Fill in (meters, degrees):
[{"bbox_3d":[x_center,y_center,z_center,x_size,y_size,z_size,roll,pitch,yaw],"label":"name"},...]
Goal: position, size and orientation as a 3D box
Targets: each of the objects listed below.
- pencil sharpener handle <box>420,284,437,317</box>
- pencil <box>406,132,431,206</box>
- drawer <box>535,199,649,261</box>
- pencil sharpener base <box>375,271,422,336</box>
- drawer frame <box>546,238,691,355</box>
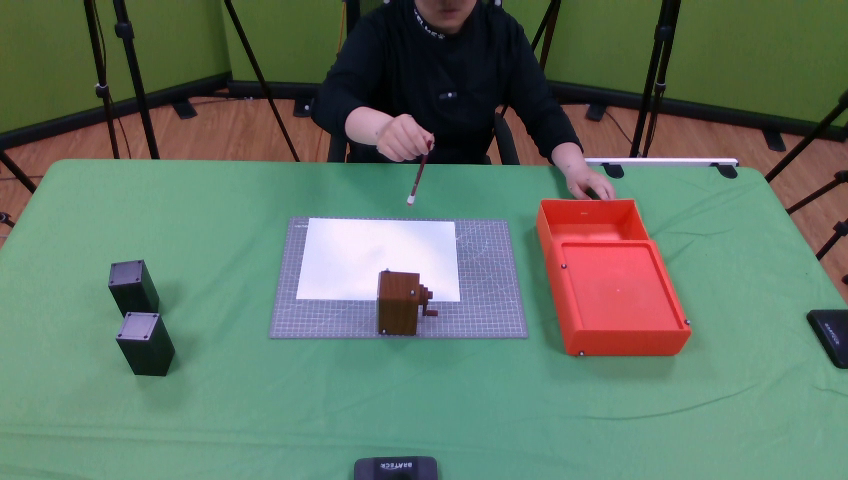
[{"bbox_3d":[0.009,0.104,1.017,0.030,0.068,0.036,3,40,-2],"label":"pencil sharpener handle"},{"bbox_3d":[-0.009,-0.124,1.083,0.012,0.195,0.012,8,53,-10],"label":"pencil"},{"bbox_3d":[0.332,0.015,1.170,0.195,0.073,0.210,0,47,-5],"label":"drawer"},{"bbox_3d":[-0.043,0.109,1.025,0.077,0.107,0.061,3,45,-2],"label":"pencil sharpener base"},{"bbox_3d":[0.338,0.097,1.086,0.202,0.083,0.212,0,46,-4],"label":"drawer frame"}]
